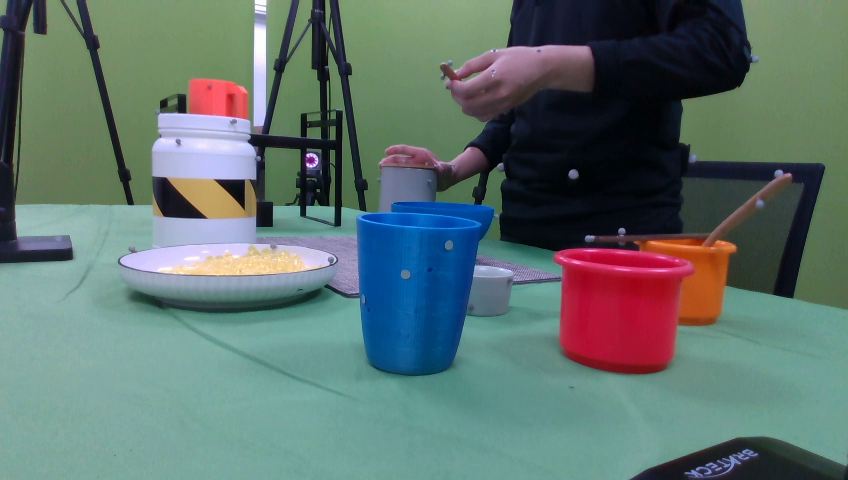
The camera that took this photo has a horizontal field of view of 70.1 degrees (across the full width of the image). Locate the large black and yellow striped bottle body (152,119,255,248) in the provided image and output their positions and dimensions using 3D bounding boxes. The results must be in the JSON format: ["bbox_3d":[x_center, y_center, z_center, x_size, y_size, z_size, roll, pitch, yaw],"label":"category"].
[{"bbox_3d":[-0.296,-0.070,0.819,0.131,0.184,0.130,2,7,0],"label":"large black and yellow striped bottle body"}]

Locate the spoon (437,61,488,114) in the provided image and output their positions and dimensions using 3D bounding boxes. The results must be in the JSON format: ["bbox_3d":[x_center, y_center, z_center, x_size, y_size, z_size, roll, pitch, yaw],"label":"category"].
[{"bbox_3d":[0.052,-0.216,0.864,0.041,0.021,0.194,2,-10,21],"label":"spoon"}]

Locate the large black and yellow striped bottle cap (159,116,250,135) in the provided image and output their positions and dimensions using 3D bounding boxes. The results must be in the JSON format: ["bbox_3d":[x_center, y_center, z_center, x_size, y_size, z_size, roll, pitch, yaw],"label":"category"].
[{"bbox_3d":[-0.292,-0.153,0.810,0.115,0.019,0.115,3,8,0],"label":"large black and yellow striped bottle cap"}]

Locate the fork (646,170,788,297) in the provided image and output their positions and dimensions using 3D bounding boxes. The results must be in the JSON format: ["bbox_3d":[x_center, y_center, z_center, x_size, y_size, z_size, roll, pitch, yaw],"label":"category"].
[{"bbox_3d":[0.256,0.004,0.543,0.028,0.018,0.207,3,-37,-9],"label":"fork"}]

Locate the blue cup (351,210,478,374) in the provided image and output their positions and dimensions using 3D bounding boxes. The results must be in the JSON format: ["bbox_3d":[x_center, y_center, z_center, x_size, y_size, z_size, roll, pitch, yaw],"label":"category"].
[{"bbox_3d":[-0.009,0.034,0.414,0.093,0.100,0.092,4,8,0],"label":"blue cup"}]

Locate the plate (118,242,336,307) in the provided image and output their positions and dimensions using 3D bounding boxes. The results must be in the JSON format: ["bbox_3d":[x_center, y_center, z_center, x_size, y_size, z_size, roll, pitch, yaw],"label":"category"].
[{"bbox_3d":[-0.194,0.033,0.615,0.209,0.038,0.209,2,7,0],"label":"plate"}]

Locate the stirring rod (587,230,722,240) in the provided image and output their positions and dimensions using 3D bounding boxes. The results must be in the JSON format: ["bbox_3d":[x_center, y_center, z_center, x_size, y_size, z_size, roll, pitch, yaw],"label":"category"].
[{"bbox_3d":[0.227,-0.006,0.585,0.177,0.006,0.014,-2,7,-28],"label":"stirring rod"}]

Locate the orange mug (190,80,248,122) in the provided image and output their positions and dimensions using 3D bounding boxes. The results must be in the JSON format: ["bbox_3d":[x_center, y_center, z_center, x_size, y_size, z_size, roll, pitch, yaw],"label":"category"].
[{"bbox_3d":[-0.394,-0.257,1.173,0.126,0.100,0.084,1,6,25],"label":"orange mug"}]

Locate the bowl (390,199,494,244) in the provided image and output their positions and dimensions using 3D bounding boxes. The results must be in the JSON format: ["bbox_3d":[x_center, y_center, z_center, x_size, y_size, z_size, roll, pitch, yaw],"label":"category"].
[{"bbox_3d":[0.024,-0.015,0.871,0.151,0.077,0.151,3,7,0],"label":"bowl"}]

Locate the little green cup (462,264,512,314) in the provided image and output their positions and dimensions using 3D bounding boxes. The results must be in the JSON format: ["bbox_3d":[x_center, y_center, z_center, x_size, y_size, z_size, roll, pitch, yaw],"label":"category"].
[{"bbox_3d":[0.053,0.047,0.580,0.061,0.038,0.061,3,8,0],"label":"little green cup"}]

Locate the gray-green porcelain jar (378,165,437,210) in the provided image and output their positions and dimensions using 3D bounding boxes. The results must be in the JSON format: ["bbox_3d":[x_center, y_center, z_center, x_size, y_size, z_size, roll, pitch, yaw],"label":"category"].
[{"bbox_3d":[-0.033,-0.073,1.128,0.106,0.126,0.106,4,4,0],"label":"gray-green porcelain jar"}]

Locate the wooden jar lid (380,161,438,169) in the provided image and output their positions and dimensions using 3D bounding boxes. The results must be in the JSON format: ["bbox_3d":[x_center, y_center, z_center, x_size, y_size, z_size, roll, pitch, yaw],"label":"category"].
[{"bbox_3d":[-0.028,-0.134,1.124,0.108,0.020,0.108,3,5,0],"label":"wooden jar lid"}]
